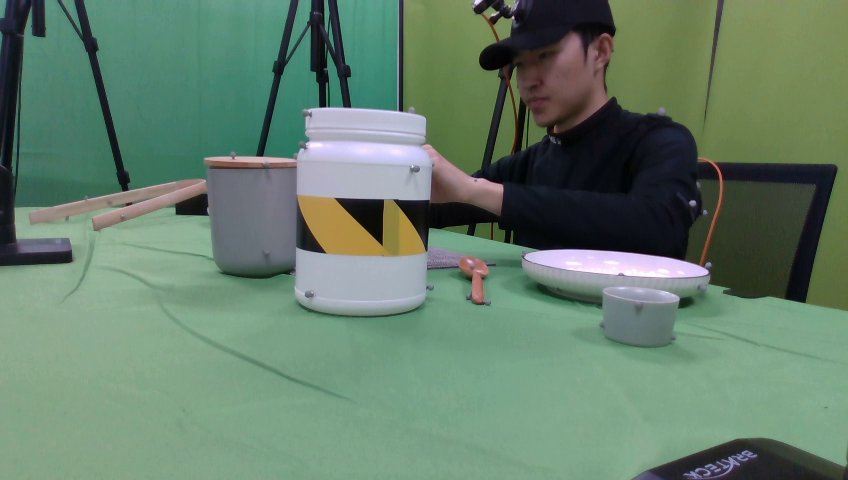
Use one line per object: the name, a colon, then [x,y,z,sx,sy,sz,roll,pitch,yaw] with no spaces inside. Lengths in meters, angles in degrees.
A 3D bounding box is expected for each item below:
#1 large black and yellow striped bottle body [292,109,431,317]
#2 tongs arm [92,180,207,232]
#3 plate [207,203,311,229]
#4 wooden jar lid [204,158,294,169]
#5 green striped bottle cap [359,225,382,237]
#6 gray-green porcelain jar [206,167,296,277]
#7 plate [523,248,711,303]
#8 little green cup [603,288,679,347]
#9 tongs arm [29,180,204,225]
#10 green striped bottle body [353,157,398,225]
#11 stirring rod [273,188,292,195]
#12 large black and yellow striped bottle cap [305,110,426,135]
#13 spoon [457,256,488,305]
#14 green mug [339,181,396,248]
large black and yellow striped bottle body: [-0.060,-0.028,0.585,0.131,0.184,0.130,3,7,0]
tongs arm: [-0.534,-0.075,1.222,0.028,0.028,0.388,-2,15,12]
plate: [-0.342,-0.050,1.259,0.208,0.039,0.207,2,7,0]
wooden jar lid: [-0.203,-0.086,0.714,0.108,0.020,0.108,3,10,0]
green striped bottle cap: [-0.101,-0.016,1.138,0.044,0.020,0.044,-3,7,1]
gray-green porcelain jar: [-0.201,-0.024,0.724,0.106,0.126,0.106,-1,9,1]
plate: [0.219,0.041,0.706,0.209,0.038,0.209,2,7,0]
little green cup: [0.180,0.064,0.505,0.061,0.038,0.061,2,7,0]
tongs arm: [-0.609,-0.083,1.245,0.050,0.026,0.386,5,16,23]
green striped bottle body: [-0.071,-0.078,0.886,0.063,0.063,0.119,2,33,-6]
stirring rod: [-0.354,-0.122,1.518,0.006,0.014,0.176,2,6,1]
large black and yellow striped bottle cap: [-0.055,-0.110,0.574,0.115,0.019,0.115,1,7,0]
spoon: [0.058,0.044,0.696,0.041,0.021,0.193,21,7,0]
green mug: [-0.097,-0.045,0.995,0.093,0.105,0.125,-2,8,-22]
